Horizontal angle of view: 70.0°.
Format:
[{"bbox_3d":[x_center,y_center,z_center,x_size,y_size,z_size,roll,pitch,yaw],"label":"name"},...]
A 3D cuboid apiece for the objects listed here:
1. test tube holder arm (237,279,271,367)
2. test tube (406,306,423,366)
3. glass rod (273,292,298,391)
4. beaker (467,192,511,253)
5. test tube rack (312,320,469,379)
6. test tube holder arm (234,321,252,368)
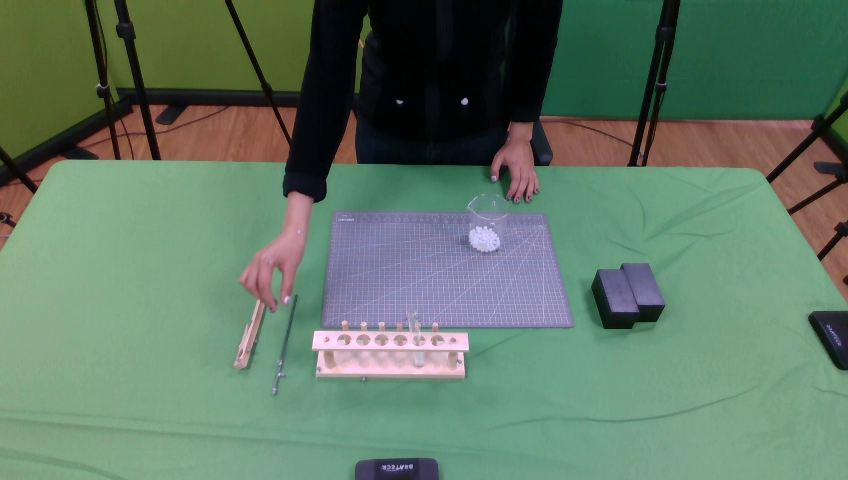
[{"bbox_3d":[-0.290,0.139,1.041,0.013,0.015,0.177,-16,42,22],"label":"test tube holder arm"},{"bbox_3d":[-0.013,0.152,0.939,0.017,0.151,0.017,-3,48,3],"label":"test tube"},{"bbox_3d":[-0.234,0.167,1.030,0.008,0.008,0.198,3,46,0],"label":"glass rod"},{"bbox_3d":[0.121,-0.031,1.179,0.084,0.101,0.073,3,46,0],"label":"beaker"},{"bbox_3d":[-0.054,0.173,0.984,0.242,0.085,0.066,1,46,-3],"label":"test tube rack"},{"bbox_3d":[-0.299,0.173,1.013,0.010,0.015,0.087,-16,42,22],"label":"test tube holder arm"}]
